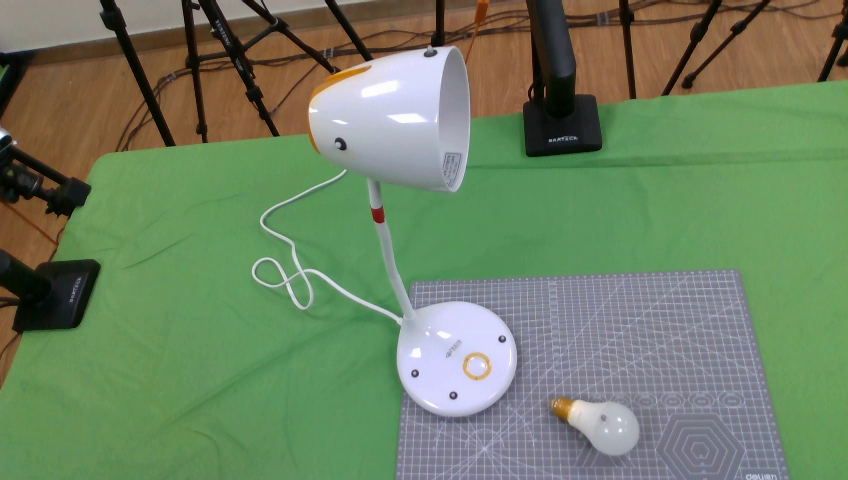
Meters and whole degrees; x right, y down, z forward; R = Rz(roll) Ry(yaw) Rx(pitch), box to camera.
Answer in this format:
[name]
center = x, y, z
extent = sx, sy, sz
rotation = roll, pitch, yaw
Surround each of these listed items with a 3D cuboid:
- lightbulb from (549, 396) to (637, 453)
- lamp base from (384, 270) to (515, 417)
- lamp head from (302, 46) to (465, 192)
[lightbulb]
center = 0.198, 0.212, 0.719
extent = 0.107, 0.060, 0.059
rotation = 14, 61, 38
[lamp base]
center = 0.015, 0.110, 0.743
extent = 0.178, 0.182, 0.160
rotation = 20, 63, 26
[lamp head]
center = -0.032, -0.091, 0.487
extent = 0.122, 0.113, 0.111
rotation = -2, 58, 19
